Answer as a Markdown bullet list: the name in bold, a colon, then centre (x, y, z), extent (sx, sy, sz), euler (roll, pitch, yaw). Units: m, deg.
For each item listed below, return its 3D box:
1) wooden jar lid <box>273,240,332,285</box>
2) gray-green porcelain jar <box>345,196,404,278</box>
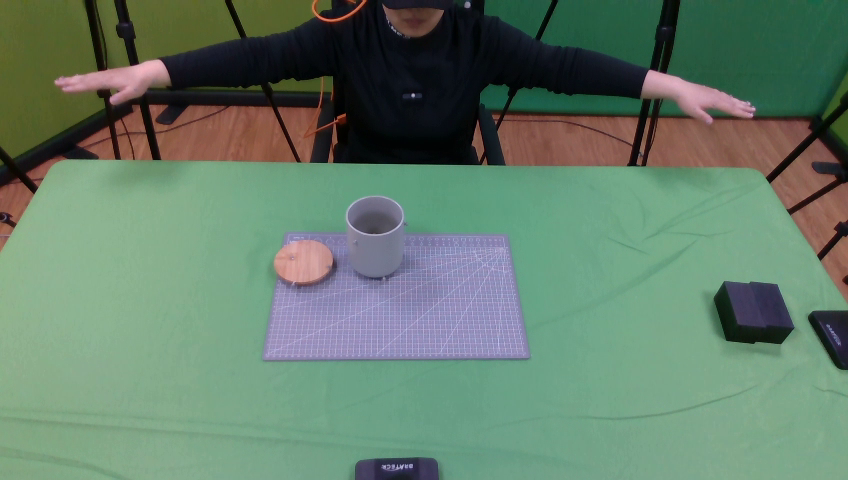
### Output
- **wooden jar lid**: centre (-0.227, 0.044, 1.137), extent (0.108, 0.021, 0.107), euler (3, 47, -3)
- **gray-green porcelain jar**: centre (-0.091, -0.001, 1.117), extent (0.106, 0.127, 0.105), euler (2, 46, -2)
